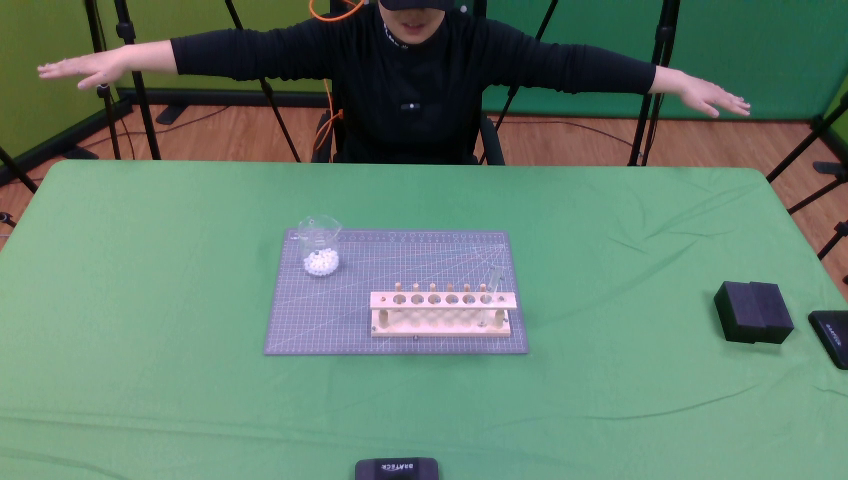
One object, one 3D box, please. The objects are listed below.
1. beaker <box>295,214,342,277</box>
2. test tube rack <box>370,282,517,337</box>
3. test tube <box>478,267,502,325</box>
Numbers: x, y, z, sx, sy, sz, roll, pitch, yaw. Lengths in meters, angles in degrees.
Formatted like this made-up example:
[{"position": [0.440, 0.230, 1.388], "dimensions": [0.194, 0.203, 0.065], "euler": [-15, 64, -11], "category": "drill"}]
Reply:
[{"position": [-0.191, 0.013, 1.114], "dimensions": [0.084, 0.101, 0.073], "euler": [-12, 49, -17], "category": "beaker"}, {"position": [0.030, 0.116, 1.041], "dimensions": [0.242, 0.085, 0.066], "euler": [1, 46, -4], "category": "test tube rack"}, {"position": [0.107, 0.096, 0.998], "dimensions": [0.017, 0.151, 0.017], "euler": [4, 48, -4], "category": "test tube"}]
